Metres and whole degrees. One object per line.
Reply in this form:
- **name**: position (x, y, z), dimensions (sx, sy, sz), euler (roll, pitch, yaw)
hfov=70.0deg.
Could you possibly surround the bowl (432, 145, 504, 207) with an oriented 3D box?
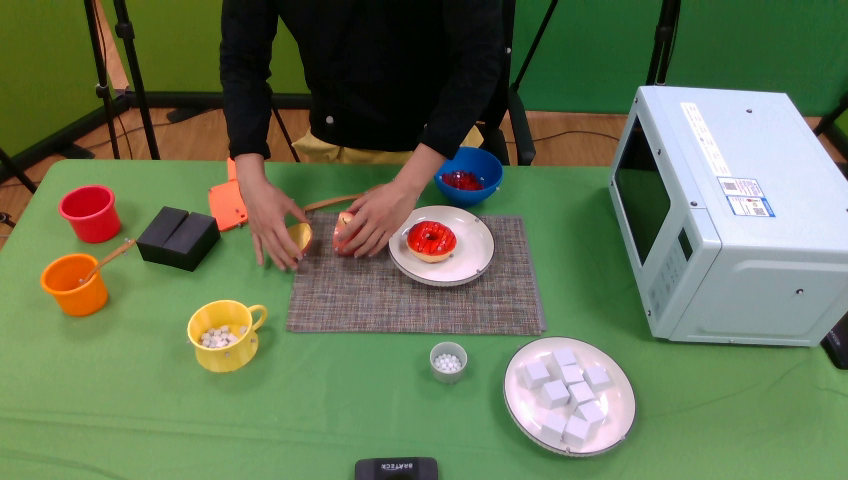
- **bowl**: position (0.091, -0.124, 1.286), dimensions (0.151, 0.077, 0.150), euler (2, 46, -2)

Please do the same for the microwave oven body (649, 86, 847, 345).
- **microwave oven body**: position (0.568, -0.053, 1.118), dimensions (0.326, 0.261, 0.439), euler (2, 45, -1)

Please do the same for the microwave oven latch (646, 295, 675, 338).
- **microwave oven latch**: position (0.412, 0.134, 1.061), dimensions (0.030, 0.029, 0.078), euler (4, 45, 1)

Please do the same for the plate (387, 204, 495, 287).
- **plate**: position (0.033, 0.014, 1.171), dimensions (0.209, 0.038, 0.208), euler (2, 46, -2)

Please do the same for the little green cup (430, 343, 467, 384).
- **little green cup**: position (0.039, 0.203, 0.994), dimensions (0.061, 0.039, 0.061), euler (2, 46, -2)

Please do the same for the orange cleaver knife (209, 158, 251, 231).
- **orange cleaver knife**: position (-0.409, -0.098, 1.266), dimensions (0.077, 0.012, 0.210), euler (-13, 49, -10)

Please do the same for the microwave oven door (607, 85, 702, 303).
- **microwave oven door**: position (0.423, -0.094, 1.140), dimensions (0.039, 0.245, 0.353), euler (2, 46, -1)

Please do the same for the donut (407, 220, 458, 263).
- **donut**: position (0.016, 0.002, 1.166), dimensions (0.099, 0.048, 0.098), euler (3, 44, -2)

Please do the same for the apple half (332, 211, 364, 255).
- **apple half**: position (-0.141, -0.010, 1.157), dimensions (0.053, 0.075, 0.080), euler (9, 43, 0)

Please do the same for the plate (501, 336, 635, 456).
- **plate**: position (0.225, 0.248, 0.964), dimensions (0.208, 0.039, 0.206), euler (2, 46, -2)

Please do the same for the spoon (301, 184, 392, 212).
- **spoon**: position (-0.161, -0.086, 1.270), dimensions (0.194, 0.022, 0.041), euler (-11, 65, -15)

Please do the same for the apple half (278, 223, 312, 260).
- **apple half**: position (-0.240, 0.007, 1.158), dimensions (0.081, 0.033, 0.081), euler (-16, 52, 22)

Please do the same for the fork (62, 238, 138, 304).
- **fork**: position (-0.547, 0.053, 1.018), dimensions (0.207, 0.019, 0.028), euler (-36, 41, 23)

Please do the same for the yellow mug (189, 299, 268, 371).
- **yellow mug**: position (-0.316, 0.148, 1.002), dimensions (0.131, 0.064, 0.099), euler (-33, 56, -31)
